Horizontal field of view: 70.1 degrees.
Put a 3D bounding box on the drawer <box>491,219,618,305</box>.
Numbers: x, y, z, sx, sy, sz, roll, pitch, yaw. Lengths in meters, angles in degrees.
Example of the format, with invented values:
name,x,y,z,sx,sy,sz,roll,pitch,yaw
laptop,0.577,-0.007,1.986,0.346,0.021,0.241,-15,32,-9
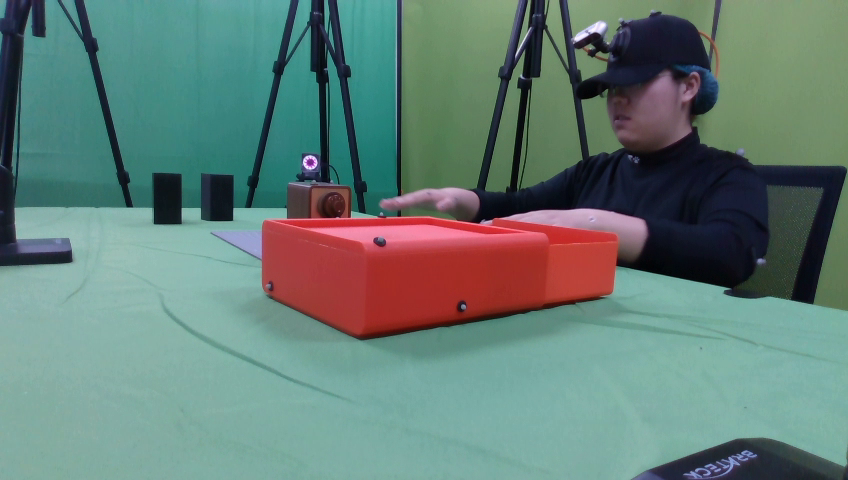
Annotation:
name,x,y,z,sx,sy,sz,roll,pitch,yaw
drawer,0.071,0.021,0.670,0.213,0.073,0.193,-3,10,-39

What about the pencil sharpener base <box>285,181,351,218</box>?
name,x,y,z,sx,sy,sz,roll,pitch,yaw
pencil sharpener base,-0.139,-0.021,0.789,0.062,0.107,0.076,-2,9,-36

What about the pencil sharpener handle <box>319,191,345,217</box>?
name,x,y,z,sx,sy,sz,roll,pitch,yaw
pencil sharpener handle,-0.107,-0.026,0.748,0.036,0.067,0.030,-6,11,-36

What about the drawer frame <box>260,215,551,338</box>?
name,x,y,z,sx,sy,sz,roll,pitch,yaw
drawer frame,-0.021,0.023,0.595,0.215,0.082,0.200,-4,10,-38

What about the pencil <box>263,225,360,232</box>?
name,x,y,z,sx,sy,sz,roll,pitch,yaw
pencil,-0.212,-0.021,1.157,0.195,0.012,0.012,-3,9,-32
